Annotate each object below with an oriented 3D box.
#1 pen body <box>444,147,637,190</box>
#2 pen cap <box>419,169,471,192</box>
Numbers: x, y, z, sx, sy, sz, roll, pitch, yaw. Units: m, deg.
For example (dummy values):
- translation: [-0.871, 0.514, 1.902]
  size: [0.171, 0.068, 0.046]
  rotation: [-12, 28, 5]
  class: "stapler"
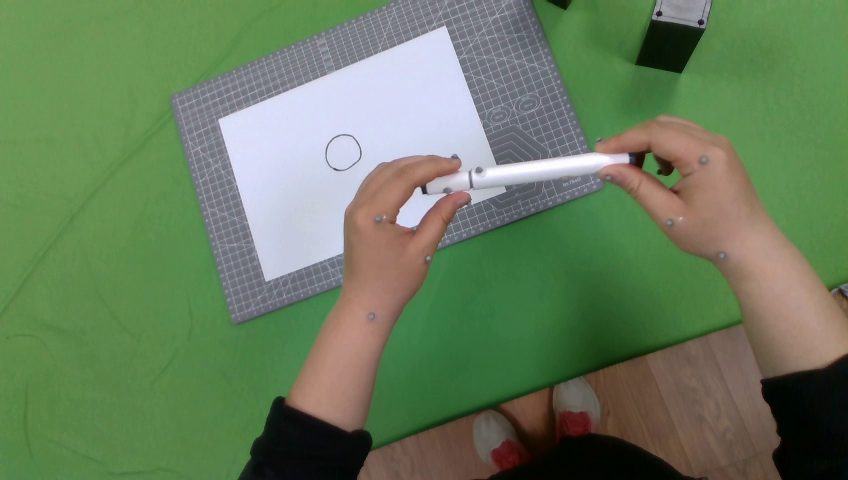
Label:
- translation: [0.078, -0.049, 0.435]
  size: [0.144, 0.017, 0.017]
  rotation: [-8, 82, 4]
  class: "pen body"
- translation: [0.015, -0.044, 0.443]
  size: [0.038, 0.017, 0.017]
  rotation: [-4, 82, -1]
  class: "pen cap"
